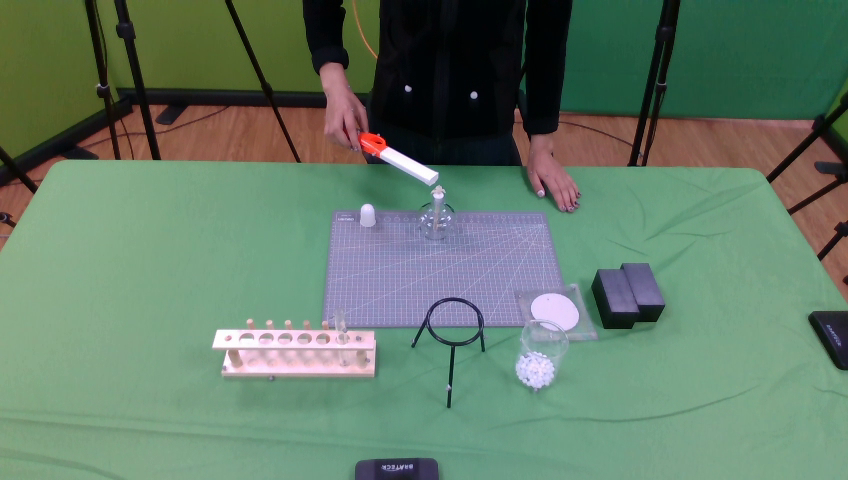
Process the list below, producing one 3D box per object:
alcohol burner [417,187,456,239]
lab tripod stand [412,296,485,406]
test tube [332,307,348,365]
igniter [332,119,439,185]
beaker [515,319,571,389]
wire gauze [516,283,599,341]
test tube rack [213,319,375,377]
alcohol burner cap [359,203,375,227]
[{"bbox_3d":[0.026,-0.059,1.189,0.078,0.120,0.077,1,48,-1],"label":"alcohol burner"},{"bbox_3d":[0.045,0.168,0.963,0.148,0.132,0.147,3,47,-3],"label":"lab tripod stand"},{"bbox_3d":[-0.128,0.151,0.931,0.017,0.151,0.017,1,50,-2],"label":"test tube"},{"bbox_3d":[-0.086,-0.182,1.216,0.275,0.025,0.057,31,52,26],"label":"igniter"},{"bbox_3d":[0.186,0.186,0.980,0.074,0.101,0.083,-23,51,-24],"label":"beaker"},{"bbox_3d":[0.240,0.131,1.094,0.125,0.011,0.120,-3,48,-8],"label":"wire gauze"},{"bbox_3d":[-0.202,0.170,0.977,0.242,0.085,0.066,1,46,-3],"label":"test tube rack"},{"bbox_3d":[-0.115,-0.053,1.224,0.034,0.048,0.033,3,47,-3],"label":"alcohol burner cap"}]
